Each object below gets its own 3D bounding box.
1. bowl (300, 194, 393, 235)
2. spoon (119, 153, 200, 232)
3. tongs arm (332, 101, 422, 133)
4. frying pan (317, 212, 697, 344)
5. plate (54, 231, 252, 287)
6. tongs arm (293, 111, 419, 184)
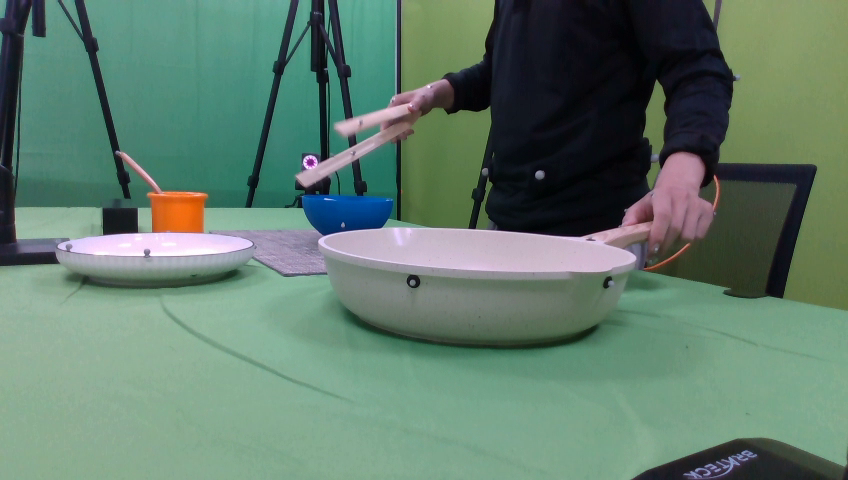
[{"bbox_3d":[-0.128,-0.034,0.995,0.151,0.077,0.151,2,7,0],"label":"bowl"},{"bbox_3d":[-0.439,-0.077,1.000,0.021,0.193,0.042,-43,-7,22],"label":"spoon"},{"bbox_3d":[-0.072,-0.226,1.101,0.028,0.028,0.388,41,25,3],"label":"tongs arm"},{"bbox_3d":[0.133,0.013,0.630,0.490,0.102,0.305,-12,14,-31],"label":"frying pan"},{"bbox_3d":[-0.309,0.020,0.705,0.208,0.039,0.207,3,7,0],"label":"plate"},{"bbox_3d":[-0.114,-0.185,1.137,0.026,0.050,0.386,45,34,2],"label":"tongs arm"}]
